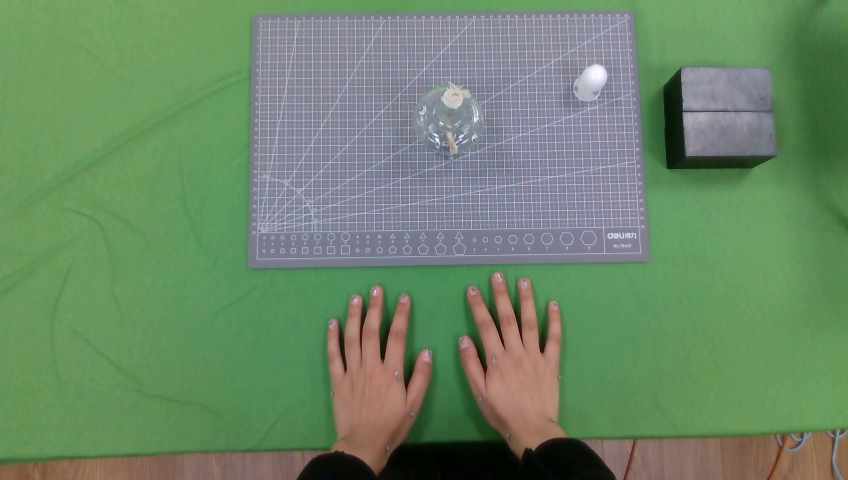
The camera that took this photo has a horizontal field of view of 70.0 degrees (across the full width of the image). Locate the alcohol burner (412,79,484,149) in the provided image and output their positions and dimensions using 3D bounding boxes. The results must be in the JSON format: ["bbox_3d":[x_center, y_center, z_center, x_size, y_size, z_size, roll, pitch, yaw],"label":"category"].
[{"bbox_3d":[0.027,-0.139,0.642,0.078,0.119,0.077,0,83,-3],"label":"alcohol burner"}]

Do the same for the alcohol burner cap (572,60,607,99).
[{"bbox_3d":[0.189,-0.184,0.687,0.034,0.048,0.033,0,81,-1],"label":"alcohol burner cap"}]
